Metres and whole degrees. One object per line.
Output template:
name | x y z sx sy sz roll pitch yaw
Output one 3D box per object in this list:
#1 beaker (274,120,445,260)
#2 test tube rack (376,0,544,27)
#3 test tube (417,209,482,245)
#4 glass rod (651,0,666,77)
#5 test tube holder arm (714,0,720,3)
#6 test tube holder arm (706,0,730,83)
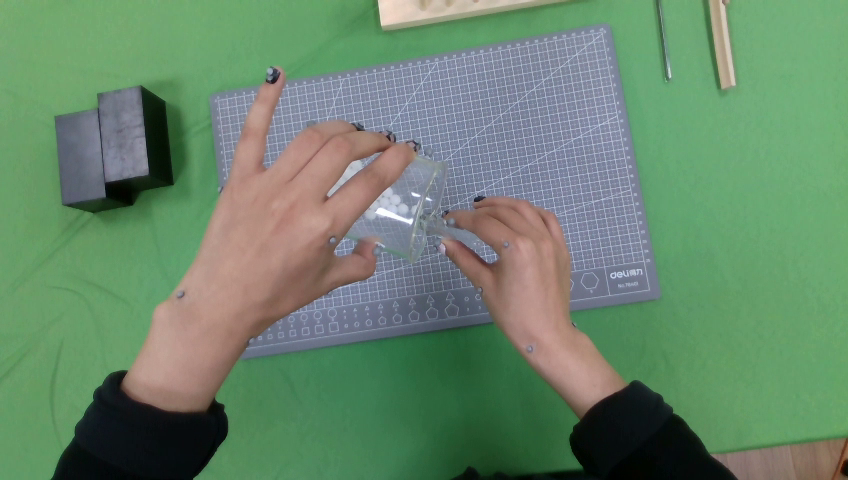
beaker | -0.044 -0.036 0.420 0.100 0.084 0.074 19 83 7
test tube rack | 0.062 -0.292 0.633 0.242 0.085 0.066 -8 83 5
test tube | 0.026 -0.009 0.523 0.017 0.151 0.017 -2 84 19
glass rod | 0.246 -0.272 0.652 0.008 0.008 0.199 -4 84 5
test tube holder arm | 0.309 -0.297 0.643 0.010 0.015 0.087 1 84 -24
test tube holder arm | 0.306 -0.252 0.637 0.013 0.015 0.178 0 84 -24
